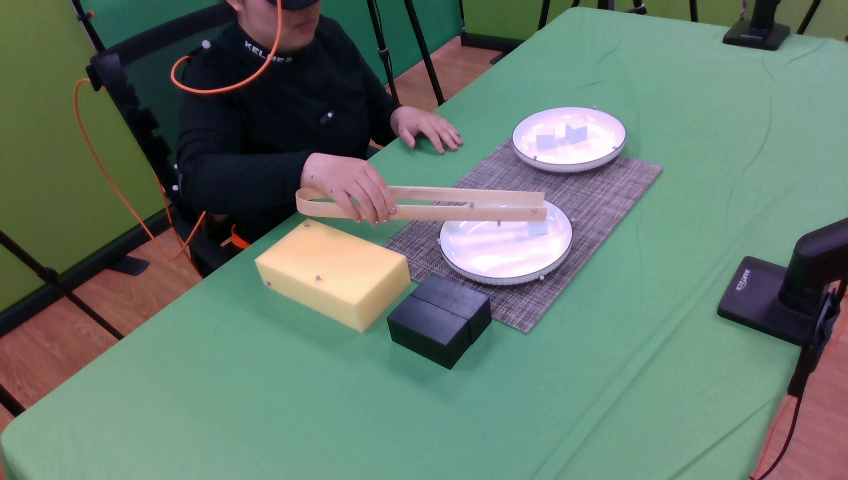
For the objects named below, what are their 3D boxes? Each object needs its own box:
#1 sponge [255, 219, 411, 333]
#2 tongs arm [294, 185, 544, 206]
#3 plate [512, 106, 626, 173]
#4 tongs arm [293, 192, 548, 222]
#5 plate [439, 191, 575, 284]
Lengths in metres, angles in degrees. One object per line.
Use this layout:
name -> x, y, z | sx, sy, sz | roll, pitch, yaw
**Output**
sponge -> -0.139, 0.048, 0.922 | 0.205, 0.061, 0.118 | 19, 47, 30
tongs arm -> -0.005, -0.066, 0.943 | 0.388, 0.028, 0.028 | 1, 37, -2
plate -> 0.269, -0.185, 1.132 | 0.209, 0.038, 0.208 | -5, 40, 5
tongs arm -> -0.006, -0.051, 0.921 | 0.386, 0.026, 0.050 | 0, 34, -5
plate -> 0.129, -0.002, 0.942 | 0.207, 0.039, 0.206 | -5, 40, 5
